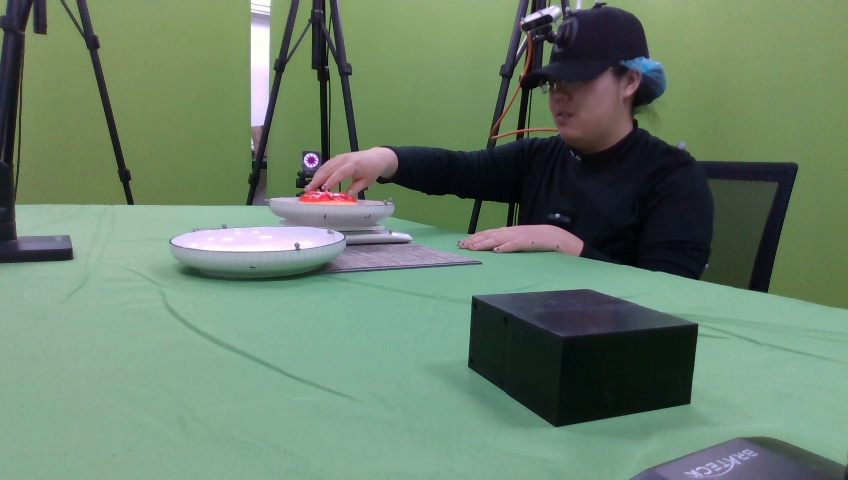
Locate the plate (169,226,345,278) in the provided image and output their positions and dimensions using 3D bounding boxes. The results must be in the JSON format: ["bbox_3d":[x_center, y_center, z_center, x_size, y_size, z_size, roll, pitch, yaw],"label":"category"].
[{"bbox_3d":[-0.202,0.014,0.748,0.209,0.038,0.209,1,9,0],"label":"plate"}]

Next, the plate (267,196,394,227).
[{"bbox_3d":[-0.152,-0.047,0.998,0.208,0.039,0.207,3,7,0],"label":"plate"}]

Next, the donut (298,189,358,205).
[{"bbox_3d":[-0.158,-0.059,0.996,0.099,0.048,0.099,2,4,0],"label":"donut"}]

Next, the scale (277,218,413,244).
[{"bbox_3d":[-0.134,-0.015,1.015,0.202,0.031,0.148,-1,9,-33],"label":"scale"}]
